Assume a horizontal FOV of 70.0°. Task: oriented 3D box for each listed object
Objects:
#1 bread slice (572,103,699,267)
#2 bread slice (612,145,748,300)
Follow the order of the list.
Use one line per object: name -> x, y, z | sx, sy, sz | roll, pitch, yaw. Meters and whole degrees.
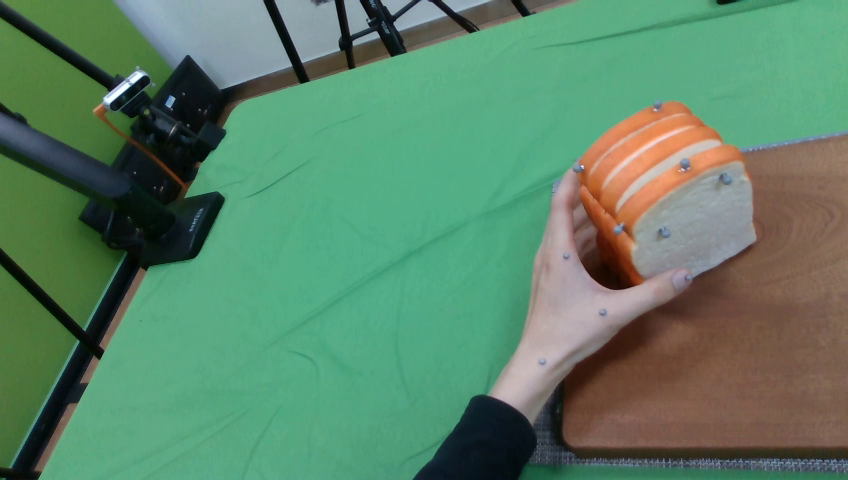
bread slice -> 0.177, -0.043, 0.485 | 0.107, 0.136, 0.018 | -29, 41, 4
bread slice -> 0.190, -0.010, 0.449 | 0.105, 0.133, 0.019 | -32, 50, 6
